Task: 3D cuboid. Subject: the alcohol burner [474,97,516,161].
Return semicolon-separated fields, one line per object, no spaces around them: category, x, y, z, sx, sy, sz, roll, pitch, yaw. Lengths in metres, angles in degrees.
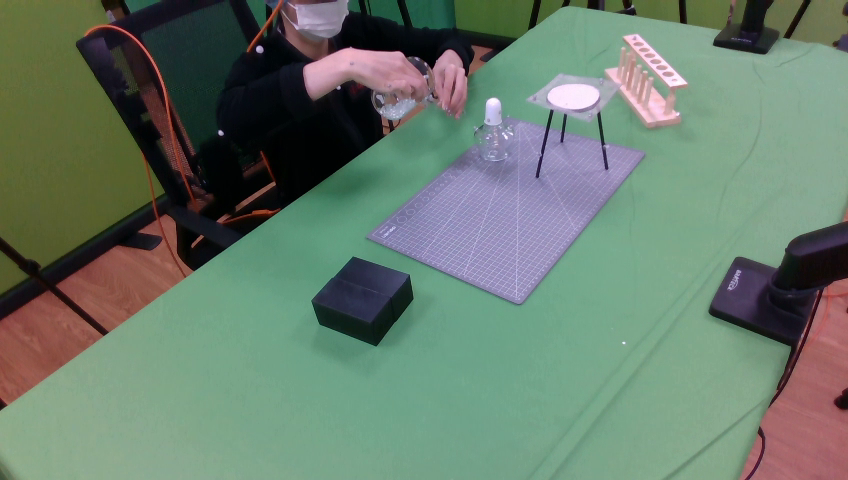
alcohol burner;0.131;-0.208;1.121;0.078;0.119;0.077;-6;40;5

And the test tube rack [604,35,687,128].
test tube rack;0.447;-0.330;1.241;0.067;0.085;0.241;-9;41;-2

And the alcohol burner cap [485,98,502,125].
alcohol burner cap;0.126;-0.234;1.097;0.034;0.048;0.033;-3;39;3

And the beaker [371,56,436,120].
beaker;-0.036;-0.254;1.030;0.073;0.084;0.100;12;44;33

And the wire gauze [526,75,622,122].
wire gauze;0.255;-0.248;1.030;0.124;0.011;0.122;24;51;32

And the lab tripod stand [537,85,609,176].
lab tripod stand;0.259;-0.192;1.068;0.148;0.132;0.147;-4;42;4

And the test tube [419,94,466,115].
test tube;0.037;-0.255;1.142;0.017;0.017;0.151;23;14;31
